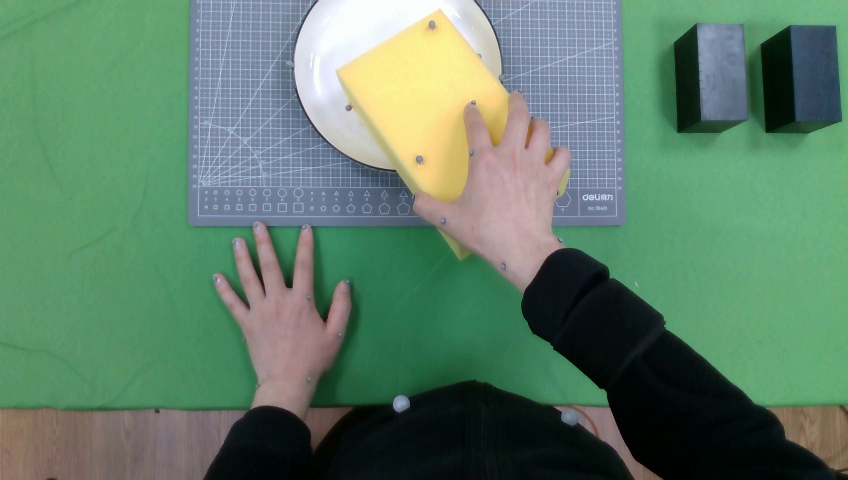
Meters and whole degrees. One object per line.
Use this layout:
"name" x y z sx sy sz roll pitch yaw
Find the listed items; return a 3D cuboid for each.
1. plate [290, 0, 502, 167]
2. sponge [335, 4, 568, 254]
"plate" -0.026 -0.173 0.613 0.209 0.038 0.208 0 87 -5
"sponge" 0.023 -0.105 0.567 0.118 0.061 0.205 -34 74 -5
